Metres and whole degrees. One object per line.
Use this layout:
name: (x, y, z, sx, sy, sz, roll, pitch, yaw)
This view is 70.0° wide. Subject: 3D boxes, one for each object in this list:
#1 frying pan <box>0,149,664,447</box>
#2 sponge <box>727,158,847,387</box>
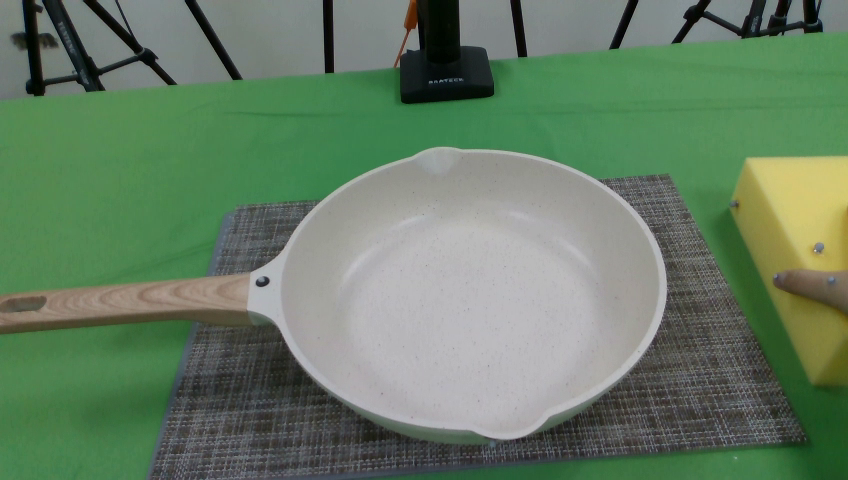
frying pan: (-0.070, 0.040, 0.466, 0.489, 0.103, 0.303, -2, 41, -8)
sponge: (0.343, 0.017, 0.488, 0.118, 0.061, 0.205, -1, 43, 4)
